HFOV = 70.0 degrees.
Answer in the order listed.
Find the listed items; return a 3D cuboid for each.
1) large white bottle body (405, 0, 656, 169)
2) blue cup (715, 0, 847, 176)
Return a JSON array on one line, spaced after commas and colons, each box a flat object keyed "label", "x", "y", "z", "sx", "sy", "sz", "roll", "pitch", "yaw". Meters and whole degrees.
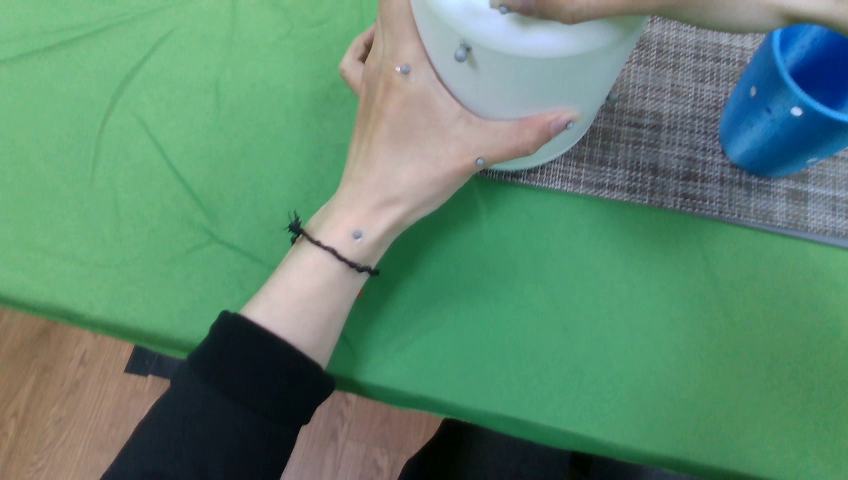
[{"label": "large white bottle body", "x": 0.053, "y": -0.132, "z": 0.337, "sx": 0.130, "sy": 0.185, "sz": 0.130, "roll": 0, "pitch": 74, "yaw": 0}, {"label": "blue cup", "x": 0.227, "y": -0.086, "z": 0.367, "sx": 0.092, "sy": 0.101, "sz": 0.092, "roll": -1, "pitch": 73, "yaw": 2}]
